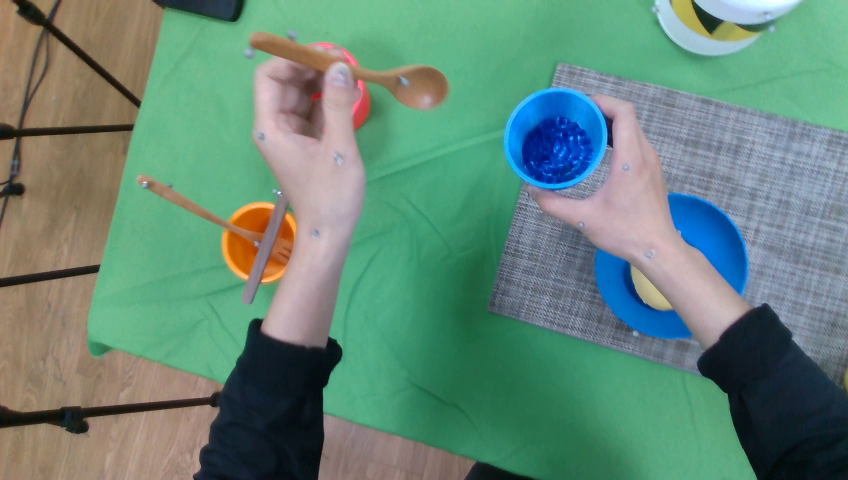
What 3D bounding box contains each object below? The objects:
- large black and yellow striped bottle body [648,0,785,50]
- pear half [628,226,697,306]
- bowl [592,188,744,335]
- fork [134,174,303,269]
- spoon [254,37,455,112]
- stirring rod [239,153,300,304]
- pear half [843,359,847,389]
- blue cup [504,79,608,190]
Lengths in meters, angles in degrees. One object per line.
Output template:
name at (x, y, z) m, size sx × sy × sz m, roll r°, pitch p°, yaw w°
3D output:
large black and yellow striped bottle body at (0.307, -0.279, 0.597) m, size 0.130 × 0.184 × 0.130 m, roll 0°, pitch 90°, yaw 7°
pear half at (0.258, 0.026, 0.647) m, size 0.070 × 0.031 × 0.088 m, roll -5°, pitch 84°, yaw 2°
bowl at (0.253, 0.022, 0.654) m, size 0.151 × 0.077 × 0.151 m, roll 0°, pitch 90°, yaw 8°
fork at (-0.224, -0.019, 0.679) m, size 0.209 × 0.018 × 0.028 m, roll 32°, pitch 106°, yaw -38°
spoon at (-0.040, -0.119, 0.440) m, size 0.041 × 0.195 × 0.021 m, roll -41°, pitch 70°, yaw 30°
stirring rod at (-0.172, -0.012, 0.672) m, size 0.014 × 0.006 × 0.176 m, roll 20°, pitch 93°, yaw 4°
pear half at (0.469, 0.144, 0.613) m, size 0.056 × 0.110 × 0.076 m, roll -4°, pitch 85°, yaw 8°
blue cup at (0.121, -0.084, 0.552) m, size 0.092 × 0.100 × 0.092 m, roll 0°, pitch 89°, yaw 13°
